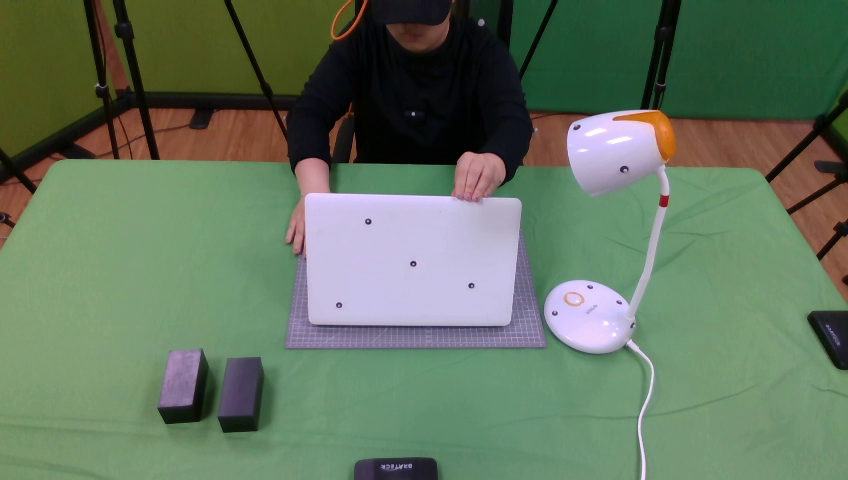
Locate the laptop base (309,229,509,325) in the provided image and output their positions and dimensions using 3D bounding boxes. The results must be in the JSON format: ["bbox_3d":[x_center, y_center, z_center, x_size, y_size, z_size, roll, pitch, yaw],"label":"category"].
[{"bbox_3d":[-0.028,0.066,1.134,0.354,0.023,0.234,1,42,-3],"label":"laptop base"}]

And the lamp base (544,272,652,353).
[{"bbox_3d":[0.310,0.086,1.029,0.178,0.181,0.160,32,52,21],"label":"lamp base"}]

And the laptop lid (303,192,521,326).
[{"bbox_3d":[-0.020,0.037,1.007,0.357,0.242,0.013,2,19,-4],"label":"laptop lid"}]

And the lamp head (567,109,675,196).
[{"bbox_3d":[0.272,-0.123,0.818,0.122,0.113,0.112,-9,35,37],"label":"lamp head"}]
